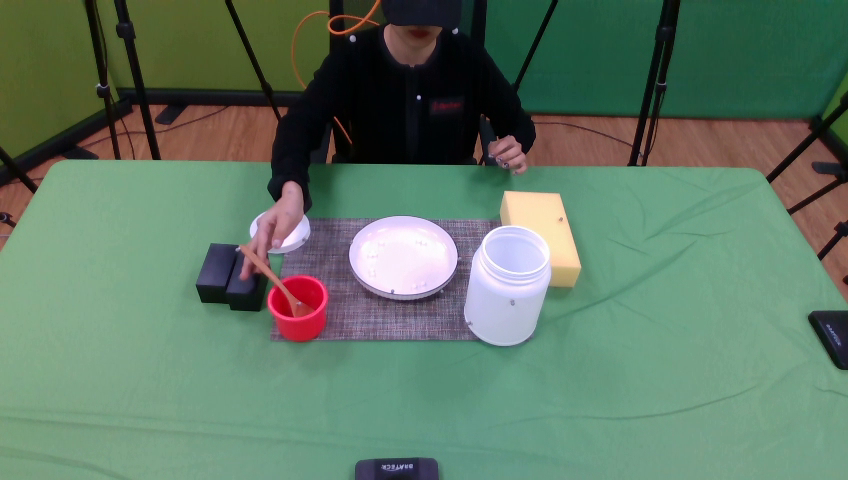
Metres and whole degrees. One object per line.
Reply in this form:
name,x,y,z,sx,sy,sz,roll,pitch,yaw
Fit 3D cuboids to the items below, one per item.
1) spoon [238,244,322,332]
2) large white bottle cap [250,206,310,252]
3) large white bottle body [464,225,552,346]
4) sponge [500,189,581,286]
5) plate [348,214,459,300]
spoon,-0.240,0.079,1.015,0.194,0.021,0.041,53,52,-15
large white bottle cap,-0.284,-0.023,1.198,0.115,0.018,0.114,1,46,0
large white bottle body,0.141,0.076,1.017,0.131,0.185,0.130,2,46,-2
sponge,0.224,-0.007,1.192,0.118,0.061,0.205,1,47,-6
plate,-0.040,0.034,1.146,0.209,0.038,0.208,2,46,-2
